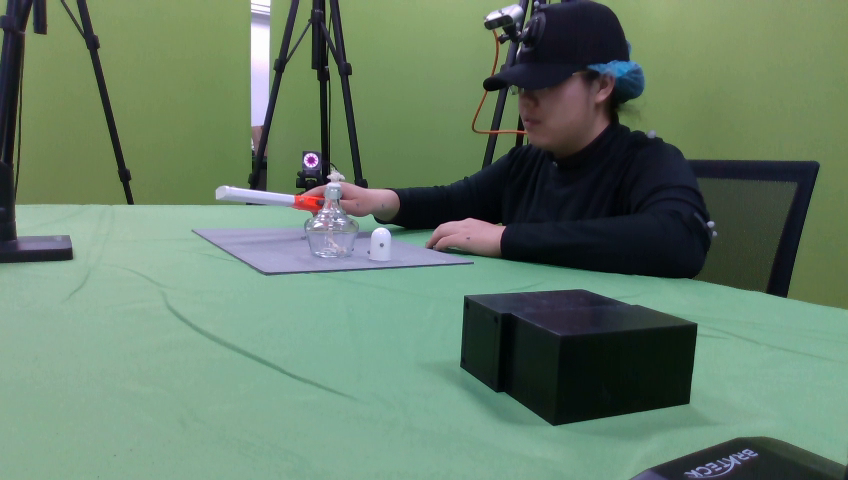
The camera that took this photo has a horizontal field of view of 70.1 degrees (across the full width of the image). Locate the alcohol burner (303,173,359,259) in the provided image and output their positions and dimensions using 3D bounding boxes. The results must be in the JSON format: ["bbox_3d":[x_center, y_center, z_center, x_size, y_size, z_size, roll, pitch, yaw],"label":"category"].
[{"bbox_3d":[-0.130,-0.034,0.850,0.078,0.119,0.078,2,5,0],"label":"alcohol burner"}]

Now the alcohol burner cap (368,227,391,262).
[{"bbox_3d":[-0.060,0.006,0.836,0.034,0.048,0.034,3,7,0],"label":"alcohol burner cap"}]

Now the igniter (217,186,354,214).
[{"bbox_3d":[-0.222,-0.066,1.032,0.057,0.025,0.278,-11,-9,39],"label":"igniter"}]
